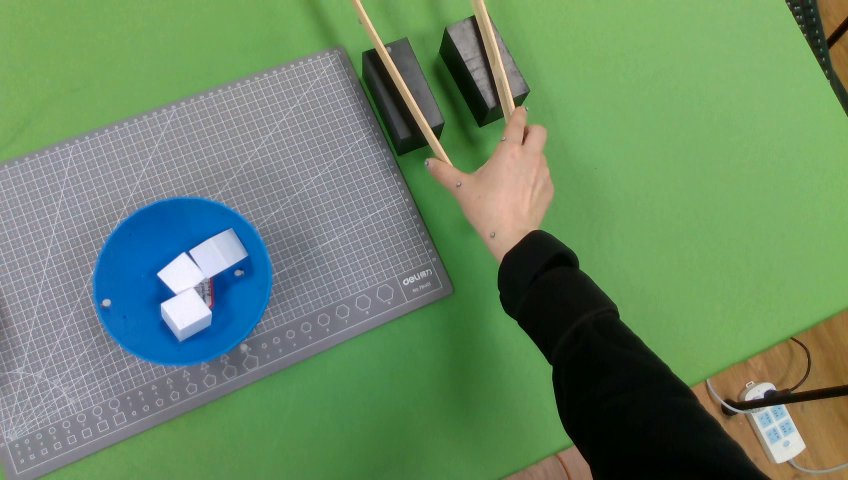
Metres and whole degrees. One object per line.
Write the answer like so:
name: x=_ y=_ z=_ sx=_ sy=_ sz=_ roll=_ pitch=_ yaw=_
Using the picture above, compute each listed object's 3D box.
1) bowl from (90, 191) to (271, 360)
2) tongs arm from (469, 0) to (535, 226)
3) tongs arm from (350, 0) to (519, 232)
bowl: x=-0.215 y=0.037 z=0.565 sx=0.152 sy=0.077 sz=0.150 roll=1 pitch=79 yaw=-7
tongs arm: x=0.057 y=-0.202 z=0.622 sx=0.028 sy=0.028 sz=0.386 roll=-12 pitch=81 yaw=-14
tongs arm: x=-0.014 y=-0.175 z=0.609 sx=0.051 sy=0.026 sz=0.383 roll=-24 pitch=83 yaw=-13
